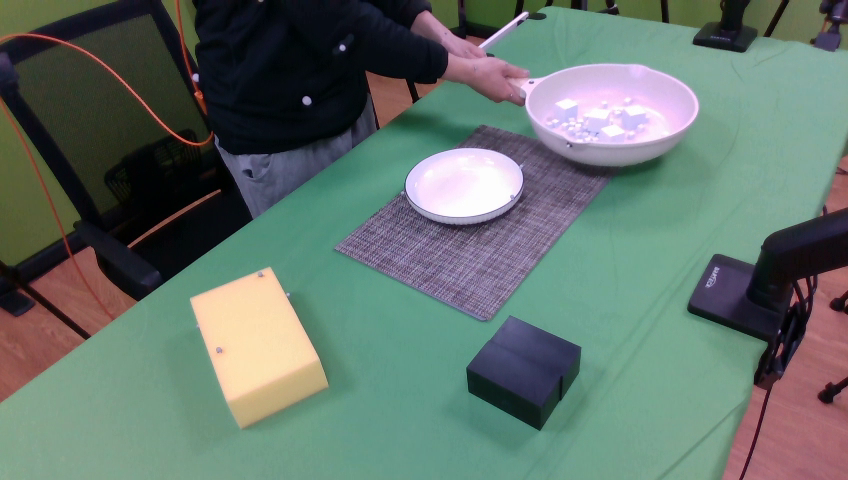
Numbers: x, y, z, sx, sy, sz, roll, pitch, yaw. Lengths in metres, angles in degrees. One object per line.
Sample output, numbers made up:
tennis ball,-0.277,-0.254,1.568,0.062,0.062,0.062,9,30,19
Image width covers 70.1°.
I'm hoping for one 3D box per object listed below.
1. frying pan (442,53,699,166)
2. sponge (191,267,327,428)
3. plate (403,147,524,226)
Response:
frying pan,0.244,-0.268,1.119,0.485,0.103,0.307,27,49,22
sponge,-0.226,0.135,0.814,0.119,0.061,0.205,-23,43,-19
plate,0.069,-0.089,1.044,0.207,0.039,0.206,-4,40,4
